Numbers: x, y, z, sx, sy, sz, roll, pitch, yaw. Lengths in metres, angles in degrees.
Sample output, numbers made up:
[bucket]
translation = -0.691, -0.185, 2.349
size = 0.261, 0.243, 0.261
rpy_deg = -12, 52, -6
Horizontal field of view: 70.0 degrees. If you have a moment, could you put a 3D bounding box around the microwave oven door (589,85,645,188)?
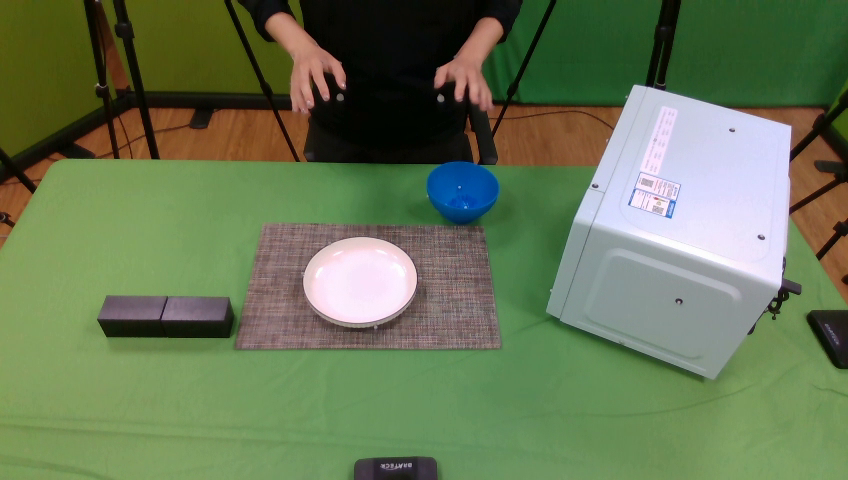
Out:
[microwave oven door]
translation = 0.342, -0.107, 1.149
size = 0.039, 0.245, 0.354
rpy_deg = 20, 48, 15

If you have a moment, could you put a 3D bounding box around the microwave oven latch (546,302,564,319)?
[microwave oven latch]
translation = 0.242, 0.102, 1.081
size = 0.030, 0.029, 0.079
rpy_deg = 21, 48, 17

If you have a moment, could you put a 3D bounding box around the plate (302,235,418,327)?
[plate]
translation = -0.114, 0.077, 1.098
size = 0.208, 0.039, 0.206
rpy_deg = 2, 46, -2

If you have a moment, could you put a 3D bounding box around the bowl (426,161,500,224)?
[bowl]
translation = 0.076, -0.086, 1.248
size = 0.151, 0.077, 0.150
rpy_deg = 3, 46, -2

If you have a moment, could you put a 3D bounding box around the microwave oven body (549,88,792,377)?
[microwave oven body]
translation = 0.456, -0.028, 1.088
size = 0.325, 0.261, 0.440
rpy_deg = 20, 47, 16
